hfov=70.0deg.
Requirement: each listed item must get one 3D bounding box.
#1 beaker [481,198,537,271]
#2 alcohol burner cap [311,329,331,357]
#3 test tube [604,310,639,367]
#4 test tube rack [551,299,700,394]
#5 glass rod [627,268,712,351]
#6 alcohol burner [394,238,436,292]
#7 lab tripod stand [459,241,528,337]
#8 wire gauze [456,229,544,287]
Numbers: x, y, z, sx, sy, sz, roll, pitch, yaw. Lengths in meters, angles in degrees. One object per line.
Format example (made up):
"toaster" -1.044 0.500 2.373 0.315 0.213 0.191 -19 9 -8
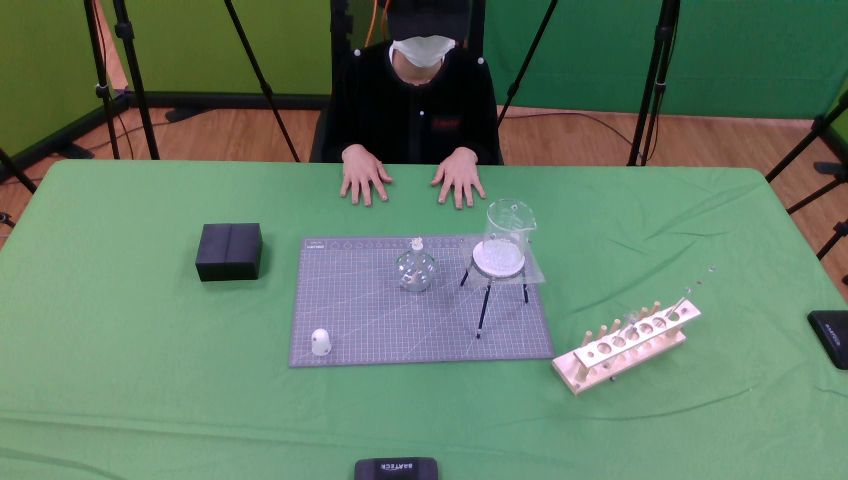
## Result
"beaker" 0.134 -0.005 0.974 0.084 0.101 0.074 23 49 16
"alcohol burner cap" -0.173 0.168 1.005 0.034 0.048 0.033 2 46 -2
"test tube" 0.310 0.158 0.957 0.017 0.151 0.017 1 49 -1
"test tube rack" 0.339 0.166 1.021 0.242 0.085 0.066 -19 50 -21
"glass rod" 0.399 0.117 0.995 0.008 0.200 0.008 26 29 -16
"alcohol burner" -0.016 0.038 1.093 0.078 0.119 0.077 2 48 -2
"lab tripod stand" 0.122 0.075 1.054 0.148 0.132 0.147 3 44 -3
"wire gauze" 0.125 0.030 1.008 0.125 0.011 0.120 -3 48 -11
